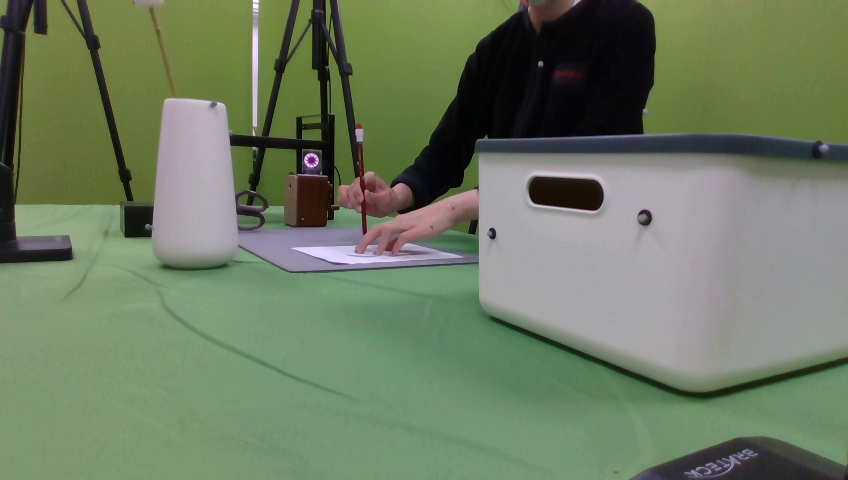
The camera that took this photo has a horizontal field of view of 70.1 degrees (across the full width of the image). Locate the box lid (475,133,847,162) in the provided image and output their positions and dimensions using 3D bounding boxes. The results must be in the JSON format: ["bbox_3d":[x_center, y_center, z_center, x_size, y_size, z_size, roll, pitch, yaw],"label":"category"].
[{"bbox_3d":[0.256,-0.073,0.528,0.373,0.015,0.262,-2,8,-31],"label":"box lid"}]

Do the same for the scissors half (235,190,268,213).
[{"bbox_3d":[-0.363,-0.070,1.060,0.176,0.040,0.013,0,16,-23],"label":"scissors half"}]

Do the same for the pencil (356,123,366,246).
[{"bbox_3d":[-0.098,-0.087,0.951,0.012,0.194,0.012,-2,2,0],"label":"pencil"}]

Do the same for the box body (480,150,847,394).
[{"bbox_3d":[0.254,0.002,0.539,0.366,0.160,0.253,-2,8,-31],"label":"box body"}]

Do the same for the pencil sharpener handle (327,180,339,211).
[{"bbox_3d":[-0.194,-0.095,1.257,0.031,0.067,0.036,-2,-6,-36],"label":"pencil sharpener handle"}]

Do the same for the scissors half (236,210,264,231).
[{"bbox_3d":[-0.369,-0.051,1.065,0.176,0.040,0.012,19,13,-27],"label":"scissors half"}]

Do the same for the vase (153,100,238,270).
[{"bbox_3d":[-0.278,-0.066,0.736,0.098,0.200,0.098,2,9,0],"label":"vase"}]

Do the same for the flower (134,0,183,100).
[{"bbox_3d":[-0.282,-0.147,0.713,0.038,0.362,0.044,-23,24,-31],"label":"flower"}]

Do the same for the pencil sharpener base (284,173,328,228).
[{"bbox_3d":[-0.239,-0.081,1.231,0.077,0.107,0.061,-2,8,-36],"label":"pencil sharpener base"}]
